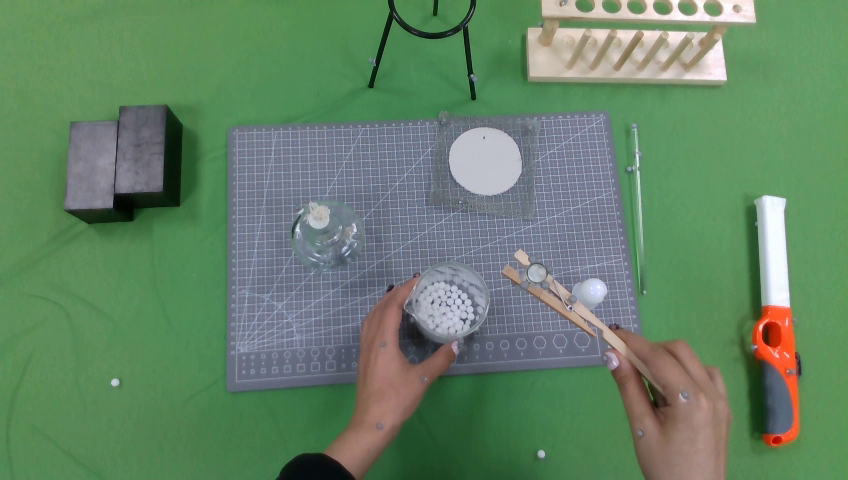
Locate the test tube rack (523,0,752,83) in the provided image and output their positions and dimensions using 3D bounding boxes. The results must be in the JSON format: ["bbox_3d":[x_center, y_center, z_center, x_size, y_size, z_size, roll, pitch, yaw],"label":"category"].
[{"bbox_3d":[0.245,-0.237,0.712,0.242,0.085,0.066,0,76,-3],"label":"test tube rack"}]

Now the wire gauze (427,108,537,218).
[{"bbox_3d":[0.069,-0.092,0.706,0.125,0.011,0.121,8,78,-2],"label":"wire gauze"}]

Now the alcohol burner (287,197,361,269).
[{"bbox_3d":[-0.105,-0.012,0.623,0.078,0.119,0.077,0,75,0],"label":"alcohol burner"}]

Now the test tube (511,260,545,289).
[{"bbox_3d":[0.084,0.030,0.500,0.017,0.150,0.017,0,83,5],"label":"test tube"}]

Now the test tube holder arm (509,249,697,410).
[{"bbox_3d":[0.137,0.067,0.469,0.178,0.015,0.013,39,94,9],"label":"test tube holder arm"}]

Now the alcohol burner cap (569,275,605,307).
[{"bbox_3d":[0.180,0.054,0.659,0.034,0.048,0.033,1,76,-2],"label":"alcohol burner cap"}]

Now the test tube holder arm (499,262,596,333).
[{"bbox_3d":[0.098,0.045,0.476,0.087,0.015,0.010,33,92,9],"label":"test tube holder arm"}]

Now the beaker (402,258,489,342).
[{"bbox_3d":[0.019,0.066,0.618,0.084,0.100,0.073,-9,76,-4],"label":"beaker"}]

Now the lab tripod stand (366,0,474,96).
[{"bbox_3d":[0.000,-0.229,0.673,0.148,0.132,0.147,1,78,-2],"label":"lab tripod stand"}]

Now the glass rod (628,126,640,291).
[{"bbox_3d":[0.244,-0.039,0.704,0.008,0.008,0.199,2,79,-3],"label":"glass rod"}]

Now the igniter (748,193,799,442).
[{"bbox_3d":[0.386,0.081,0.674,0.057,0.025,0.275,7,76,-11],"label":"igniter"}]
